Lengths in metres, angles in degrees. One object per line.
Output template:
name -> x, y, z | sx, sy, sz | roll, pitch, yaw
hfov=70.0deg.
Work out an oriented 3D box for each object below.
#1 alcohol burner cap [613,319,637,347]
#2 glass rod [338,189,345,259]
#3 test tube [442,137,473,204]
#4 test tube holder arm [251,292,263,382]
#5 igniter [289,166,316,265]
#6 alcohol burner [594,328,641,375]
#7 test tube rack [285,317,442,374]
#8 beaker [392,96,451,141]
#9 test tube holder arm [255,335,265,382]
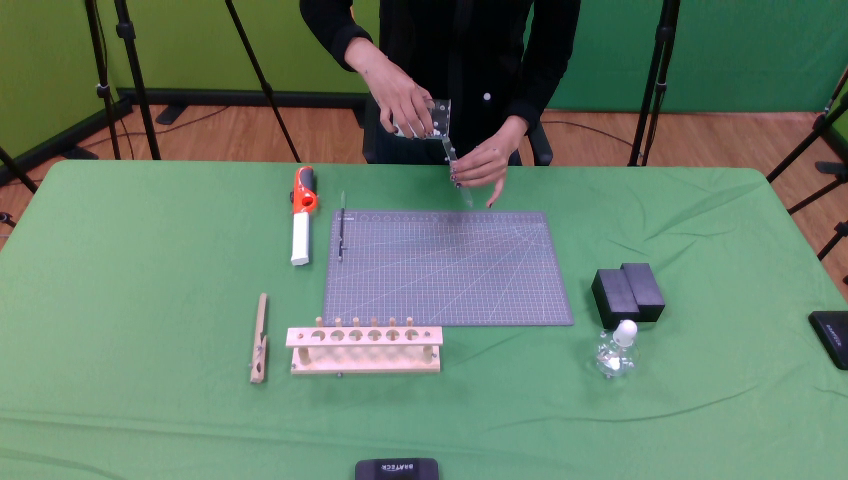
alcohol burner cap -> 0.323, 0.146, 0.966 | 0.034, 0.048, 0.033 | -1, 52, 2
glass rod -> -0.166, -0.037, 1.226 | 0.008, 0.008, 0.198 | -1, 47, -4
test tube -> 0.065, -0.129, 1.148 | 0.017, 0.151, 0.017 | -17, 35, 12
test tube holder arm -> -0.282, 0.159, 1.025 | 0.013, 0.015, 0.177 | 23, 36, -33
igniter -> -0.248, -0.058, 1.233 | 0.057, 0.025, 0.274 | -9, 47, 1
alcohol burner -> 0.322, 0.170, 0.994 | 0.078, 0.119, 0.077 | 3, 48, -3
test tube rack -> -0.095, 0.166, 0.988 | 0.242, 0.085, 0.066 | 0, 46, -4
beaker -> -0.004, -0.217, 1.083 | 0.100, 0.084, 0.073 | 5, 43, 2
test tube holder arm -> -0.270, 0.193, 0.997 | 0.010, 0.015, 0.087 | 24, 36, -32
